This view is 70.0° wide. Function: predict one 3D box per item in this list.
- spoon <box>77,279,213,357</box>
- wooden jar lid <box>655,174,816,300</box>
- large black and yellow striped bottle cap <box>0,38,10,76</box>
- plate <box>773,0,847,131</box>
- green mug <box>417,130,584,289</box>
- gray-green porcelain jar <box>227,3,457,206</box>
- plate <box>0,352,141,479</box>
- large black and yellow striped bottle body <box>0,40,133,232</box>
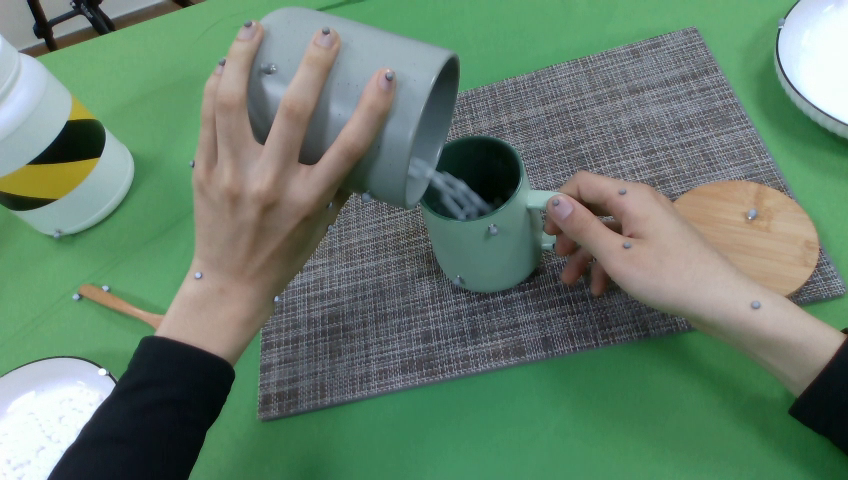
[{"bbox_3d":[-0.264,0.064,0.564,0.192,0.022,0.041,16,81,24],"label":"spoon"},{"bbox_3d":[0.231,-0.001,0.455,0.108,0.021,0.107,-8,58,13],"label":"wooden jar lid"},{"bbox_3d":[-0.429,-0.147,0.543,0.115,0.019,0.114,-8,56,12],"label":"large black and yellow striped bottle cap"},{"bbox_3d":[0.398,-0.154,0.493,0.207,0.039,0.205,-8,57,12],"label":"plate"},{"bbox_3d":[0.059,-0.020,0.466,0.125,0.106,0.092,5,60,19],"label":"green mug"},{"bbox_3d":[-0.054,-0.091,0.401,0.126,0.106,0.105,19,65,8],"label":"gray-green porcelain jar"},{"bbox_3d":[-0.319,0.194,0.491,0.209,0.038,0.207,-7,57,12],"label":"plate"},{"bbox_3d":[-0.408,-0.106,0.613,0.130,0.186,0.129,-7,58,12],"label":"large black and yellow striped bottle body"}]
